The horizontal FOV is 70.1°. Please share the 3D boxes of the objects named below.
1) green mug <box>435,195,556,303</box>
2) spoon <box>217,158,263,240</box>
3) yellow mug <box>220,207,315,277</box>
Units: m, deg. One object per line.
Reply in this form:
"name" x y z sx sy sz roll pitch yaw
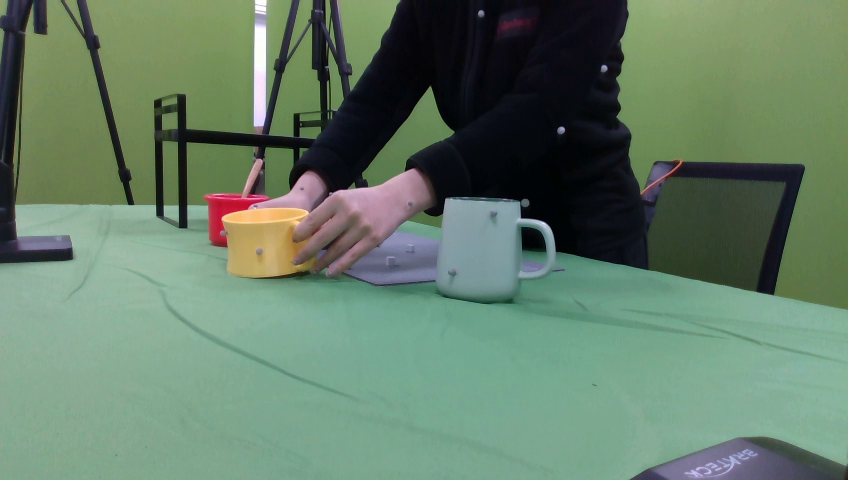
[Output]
"green mug" 0.074 0.009 0.623 0.125 0.105 0.093 5 8 24
"spoon" -0.288 -0.070 0.974 0.041 0.021 0.193 5 51 3
"yellow mug" -0.176 0.002 0.714 0.130 0.064 0.100 8 15 35
